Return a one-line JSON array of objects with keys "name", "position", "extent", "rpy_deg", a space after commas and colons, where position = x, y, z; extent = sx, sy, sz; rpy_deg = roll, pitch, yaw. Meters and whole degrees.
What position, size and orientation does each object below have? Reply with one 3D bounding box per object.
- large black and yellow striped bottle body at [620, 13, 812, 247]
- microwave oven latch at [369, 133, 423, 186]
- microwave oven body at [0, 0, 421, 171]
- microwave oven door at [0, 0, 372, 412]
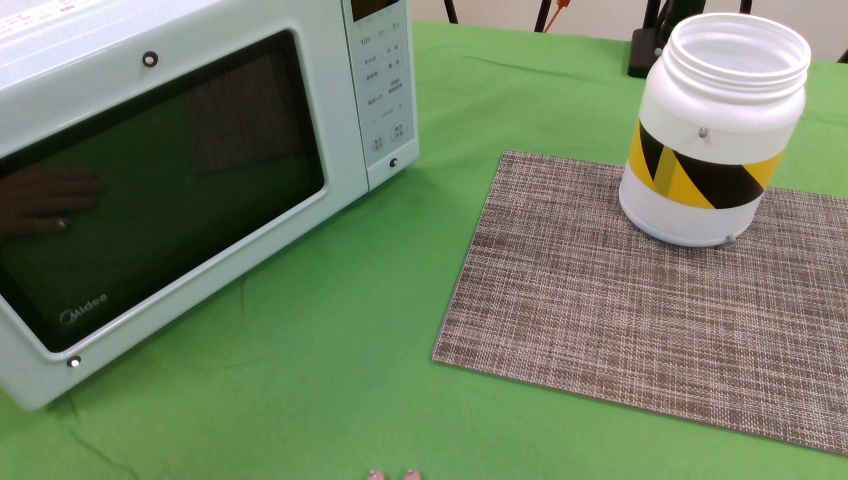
[{"name": "large black and yellow striped bottle body", "position": [0.264, -0.098, 0.561], "extent": [0.131, 0.186, 0.129], "rpy_deg": [-1, 46, 2]}, {"name": "microwave oven latch", "position": [-0.036, -0.091, 0.654], "extent": [0.079, 0.030, 0.030], "rpy_deg": [-36, 54, -27]}, {"name": "microwave oven body", "position": [-0.270, -0.135, 0.574], "extent": [0.323, 0.262, 0.441], "rpy_deg": [34, 57, 30]}, {"name": "microwave oven door", "position": [-0.196, -0.047, 0.477], "extent": [0.039, 0.246, 0.355], "rpy_deg": [33, 56, 31]}]
